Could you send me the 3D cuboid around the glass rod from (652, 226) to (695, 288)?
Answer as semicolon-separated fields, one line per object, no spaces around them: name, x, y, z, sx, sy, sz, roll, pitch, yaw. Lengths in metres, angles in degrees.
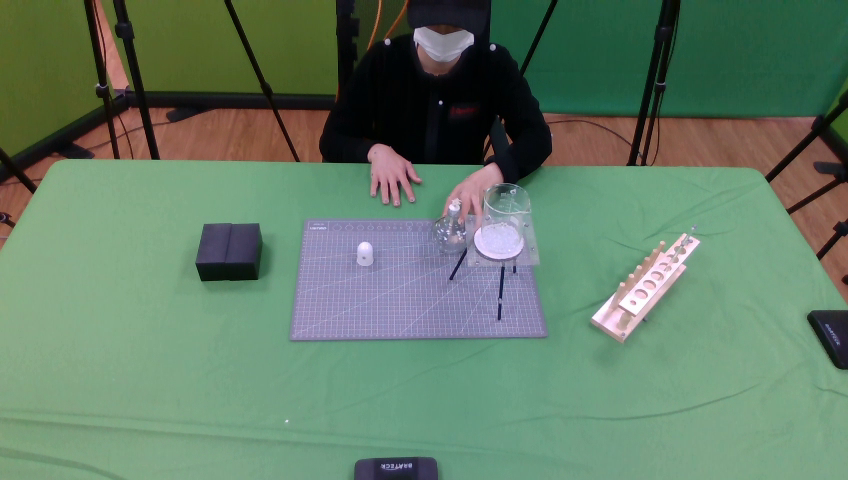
glass rod;0.432;0.037;1.057;0.008;0.200;0.008;1;54;-1

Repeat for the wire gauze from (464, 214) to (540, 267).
wire gauze;0.131;-0.001;1.035;0.121;0.011;0.124;1;44;-3

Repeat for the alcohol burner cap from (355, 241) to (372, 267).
alcohol burner cap;-0.114;0.024;1.147;0.034;0.048;0.033;2;45;-2

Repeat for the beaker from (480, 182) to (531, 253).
beaker;0.133;-0.033;0.998;0.083;0.101;0.074;26;51;22

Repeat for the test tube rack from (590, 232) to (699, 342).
test tube rack;0.407;0.074;1.112;0.066;0.085;0.242;35;53;26

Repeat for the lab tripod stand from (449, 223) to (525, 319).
lab tripod stand;0.120;0.046;1.080;0.148;0.132;0.147;1;47;-1

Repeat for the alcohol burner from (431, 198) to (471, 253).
alcohol burner;0.053;-0.032;1.164;0.078;0.120;0.077;1;44;-1
